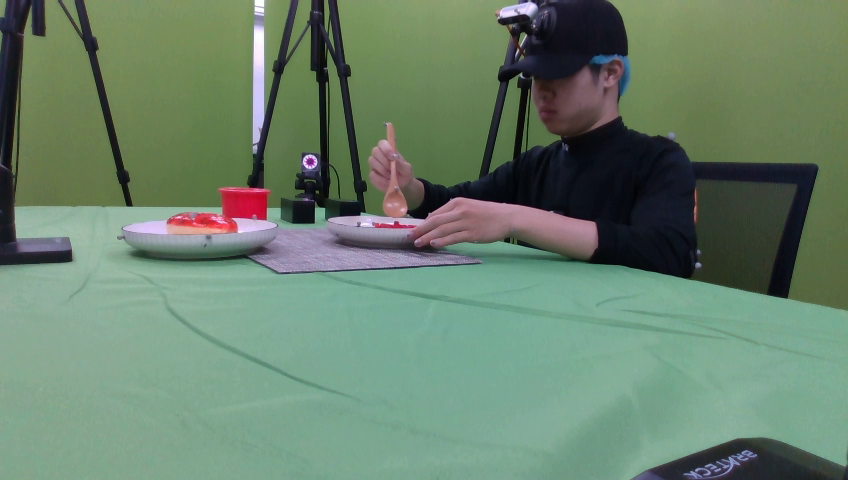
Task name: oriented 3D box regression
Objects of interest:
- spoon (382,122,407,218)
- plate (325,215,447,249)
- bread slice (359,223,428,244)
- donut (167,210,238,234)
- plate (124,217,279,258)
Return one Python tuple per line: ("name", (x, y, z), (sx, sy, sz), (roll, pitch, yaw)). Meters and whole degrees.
("spoon", (-0.054, -0.124, 1.043), (0.042, 0.193, 0.021), (-2, -21, -5))
("plate", (-0.066, -0.015, 1.035), (0.209, 0.038, 0.209), (3, 8, 0))
("bread slice", (-0.062, -0.012, 1.035), (0.105, 0.019, 0.131), (0, 10, -19))
("donut", (-0.321, -0.017, 0.882), (0.099, 0.048, 0.099), (3, 6, 0))
("plate", (-0.315, -0.004, 0.871), (0.208, 0.039, 0.207), (1, 8, 0))
